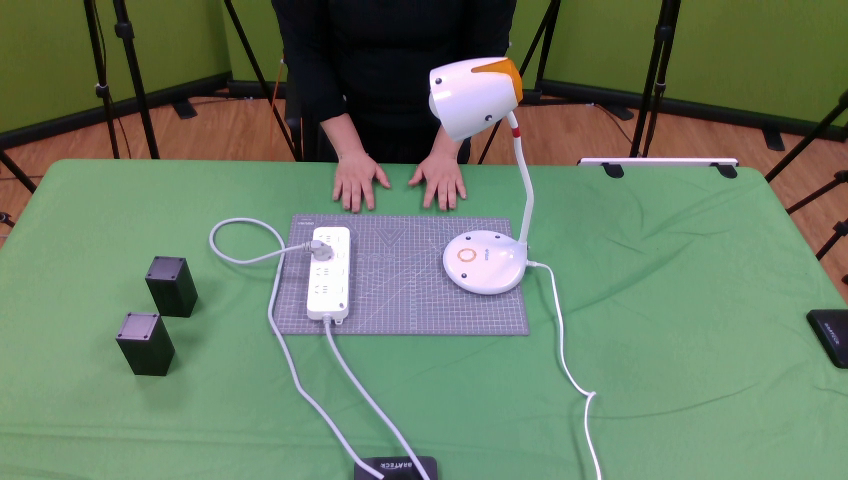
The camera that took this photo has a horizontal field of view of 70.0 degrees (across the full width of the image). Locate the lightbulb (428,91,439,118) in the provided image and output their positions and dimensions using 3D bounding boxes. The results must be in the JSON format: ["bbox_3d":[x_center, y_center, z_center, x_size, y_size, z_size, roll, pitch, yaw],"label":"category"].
[{"bbox_3d":[0.056,-0.213,0.888,0.107,0.060,0.059,-12,40,24],"label":"lightbulb"}]

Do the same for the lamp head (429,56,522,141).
[{"bbox_3d":[0.082,-0.212,0.882,0.123,0.113,0.111,-13,44,14],"label":"lamp head"}]

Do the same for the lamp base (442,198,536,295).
[{"bbox_3d":[0.131,-0.013,1.106,0.179,0.181,0.159,0,46,-8],"label":"lamp base"}]

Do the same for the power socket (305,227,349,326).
[{"bbox_3d":[-0.177,0.058,1.116,0.072,0.033,0.225,-1,46,-4],"label":"power socket"}]

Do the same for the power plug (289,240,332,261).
[{"bbox_3d":[-0.207,0.022,1.123,0.072,0.053,0.035,6,44,5],"label":"power plug"}]
